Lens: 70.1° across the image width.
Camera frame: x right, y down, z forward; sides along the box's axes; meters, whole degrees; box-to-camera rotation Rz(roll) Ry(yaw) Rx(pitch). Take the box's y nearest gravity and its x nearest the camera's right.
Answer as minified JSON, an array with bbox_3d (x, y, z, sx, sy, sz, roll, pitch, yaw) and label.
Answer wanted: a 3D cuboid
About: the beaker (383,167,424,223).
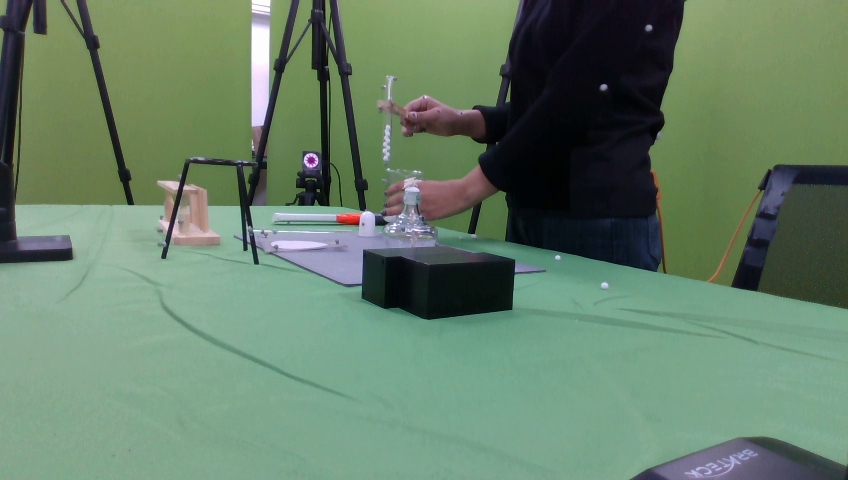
[{"bbox_3d":[-0.039,-0.084,1.141,0.074,0.100,0.084,2,11,-10],"label":"beaker"}]

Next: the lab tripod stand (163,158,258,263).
[{"bbox_3d":[-0.265,-0.041,0.802,0.148,0.131,0.148,4,7,0],"label":"lab tripod stand"}]

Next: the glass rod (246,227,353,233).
[{"bbox_3d":[-0.224,-0.017,1.109,0.201,0.008,0.008,1,7,-27],"label":"glass rod"}]

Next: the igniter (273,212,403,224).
[{"bbox_3d":[-0.179,-0.048,1.290,0.278,0.025,0.057,-1,-2,-24],"label":"igniter"}]

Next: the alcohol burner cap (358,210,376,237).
[{"bbox_3d":[-0.104,-0.030,1.098,0.034,0.048,0.034,3,7,0],"label":"alcohol burner cap"}]

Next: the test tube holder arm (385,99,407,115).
[{"bbox_3d":[-0.049,-0.237,1.078,0.010,0.015,0.088,4,2,17],"label":"test tube holder arm"}]

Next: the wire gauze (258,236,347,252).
[{"bbox_3d":[-0.189,0.005,0.931,0.122,0.011,0.124,1,7,-21],"label":"wire gauze"}]

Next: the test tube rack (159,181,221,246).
[{"bbox_3d":[-0.395,-0.050,1.010,0.067,0.085,0.241,-2,8,-28],"label":"test tube rack"}]

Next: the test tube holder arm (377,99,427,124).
[{"bbox_3d":[-0.037,-0.237,1.122,0.013,0.015,0.179,5,2,25],"label":"test tube holder arm"}]

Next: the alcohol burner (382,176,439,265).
[{"bbox_3d":[-0.018,-0.027,0.818,0.078,0.119,0.078,3,10,0],"label":"alcohol burner"}]

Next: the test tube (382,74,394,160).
[{"bbox_3d":[-0.063,-0.215,1.058,0.017,0.150,0.017,2,-1,0],"label":"test tube"}]
